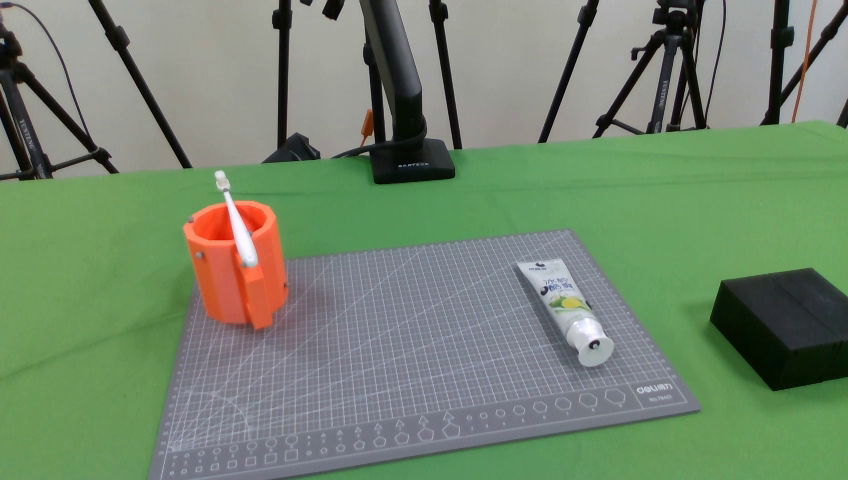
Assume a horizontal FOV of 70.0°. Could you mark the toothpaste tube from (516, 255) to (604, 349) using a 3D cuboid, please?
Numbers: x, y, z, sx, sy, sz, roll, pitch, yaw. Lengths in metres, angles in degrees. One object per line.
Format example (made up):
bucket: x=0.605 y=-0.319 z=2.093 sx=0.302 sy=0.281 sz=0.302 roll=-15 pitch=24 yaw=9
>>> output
toothpaste tube: x=0.143 y=0.058 z=0.618 sx=0.055 sy=0.035 sz=0.163 roll=-1 pitch=29 yaw=-10

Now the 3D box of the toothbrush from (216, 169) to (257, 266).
toothbrush: x=-0.185 y=-0.026 z=0.591 sx=0.014 sy=0.017 sz=0.180 roll=-11 pitch=35 yaw=-22

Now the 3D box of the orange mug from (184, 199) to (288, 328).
orange mug: x=-0.181 y=0.027 z=0.605 sx=0.084 sy=0.101 sz=0.125 roll=-17 pitch=33 yaw=-23

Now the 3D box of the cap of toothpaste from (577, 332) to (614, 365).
cap of toothpaste: x=0.154 y=0.097 z=0.548 sx=0.037 sy=0.037 sz=0.011 roll=-10 pitch=35 yaw=-14
